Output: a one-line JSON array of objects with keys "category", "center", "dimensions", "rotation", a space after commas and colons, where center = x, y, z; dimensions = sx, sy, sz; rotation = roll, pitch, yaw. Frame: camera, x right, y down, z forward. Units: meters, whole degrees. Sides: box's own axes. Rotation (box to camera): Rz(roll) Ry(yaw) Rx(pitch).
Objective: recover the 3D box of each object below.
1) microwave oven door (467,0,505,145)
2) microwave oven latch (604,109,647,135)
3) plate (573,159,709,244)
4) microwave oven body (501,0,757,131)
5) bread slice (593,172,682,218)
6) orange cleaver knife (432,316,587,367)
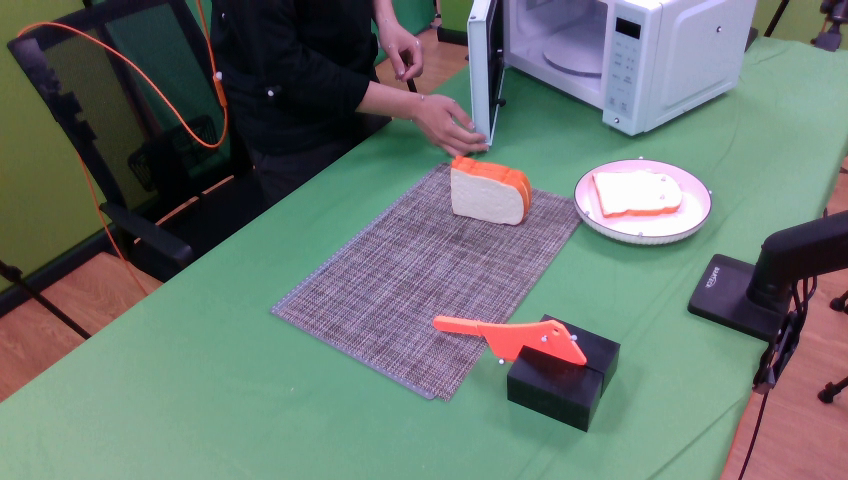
[{"category": "microwave oven door", "center": [0.129, -0.387, 1.207], "dimensions": [0.039, 0.245, 0.355], "rotation": [2, 41, 11]}, {"category": "microwave oven latch", "center": [0.378, -0.225, 1.139], "dimensions": [0.030, 0.029, 0.078], "rotation": [-26, 43, -20]}, {"category": "plate", "center": [0.347, -0.059, 0.979], "dimensions": [0.207, 0.039, 0.206], "rotation": [-4, 41, 4]}, {"category": "microwave oven body", "center": [0.396, -0.448, 1.248], "dimensions": [0.327, 0.261, 0.437], "rotation": [-27, 44, -21]}, {"category": "bread slice", "center": [0.351, -0.076, 0.995], "dimensions": [0.134, 0.018, 0.106], "rotation": [-4, 44, 1]}, {"category": "orange cleaver knife", "center": [0.101, 0.127, 0.761], "dimensions": [0.210, 0.077, 0.012], "rotation": [-1, 34, 40]}]
